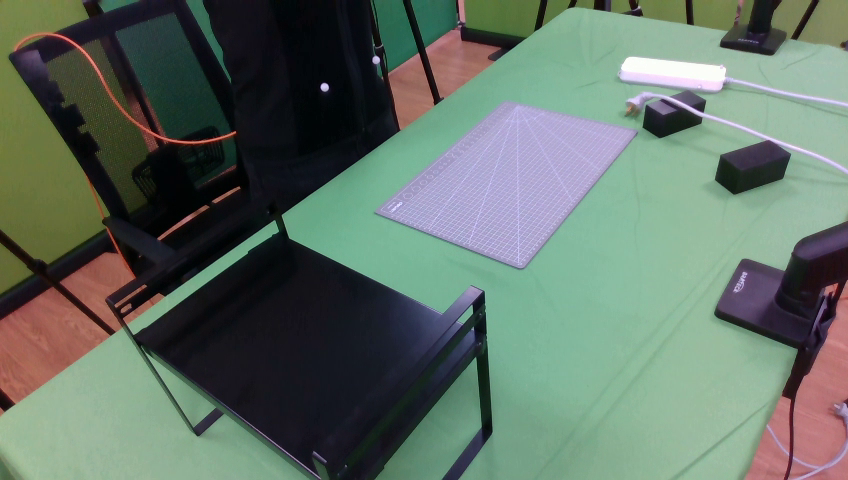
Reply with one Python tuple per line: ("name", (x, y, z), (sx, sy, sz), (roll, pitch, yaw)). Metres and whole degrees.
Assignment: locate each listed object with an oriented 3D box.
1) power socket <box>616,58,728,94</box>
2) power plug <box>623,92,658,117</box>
("power socket", (0.531, -0.355, 1.302), (0.225, 0.033, 0.072), (15, 46, 23))
("power plug", (0.423, -0.270, 1.198), (0.035, 0.072, 0.052), (35, 90, -4))
